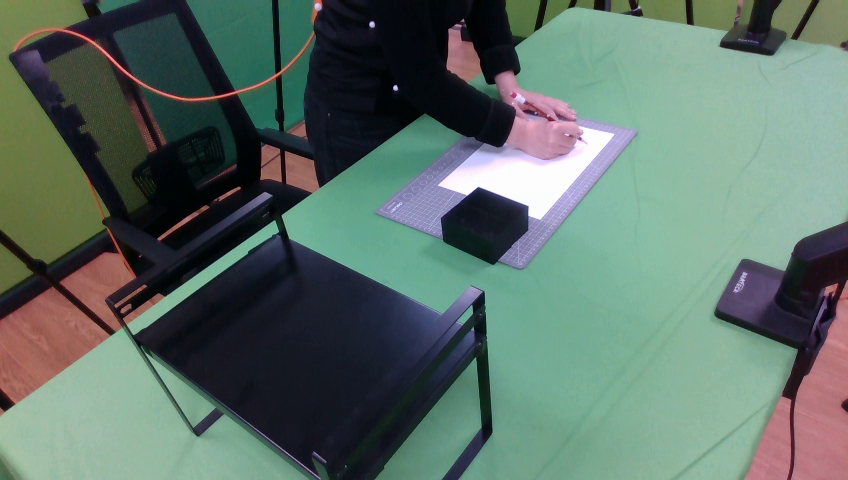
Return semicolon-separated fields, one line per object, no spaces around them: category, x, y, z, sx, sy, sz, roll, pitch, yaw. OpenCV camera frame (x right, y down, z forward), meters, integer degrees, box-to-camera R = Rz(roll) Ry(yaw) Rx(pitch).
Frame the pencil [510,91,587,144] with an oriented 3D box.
pencil;0.233;-0.222;1.111;0.195;0.012;0.012;26;32;-26
